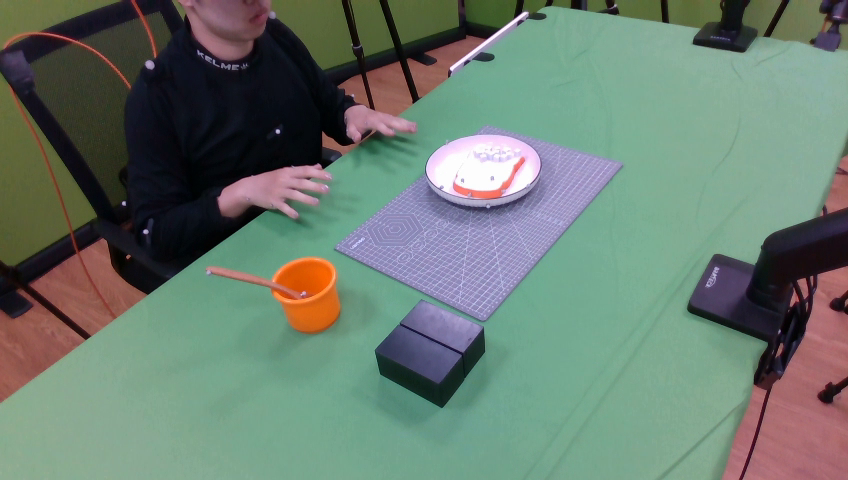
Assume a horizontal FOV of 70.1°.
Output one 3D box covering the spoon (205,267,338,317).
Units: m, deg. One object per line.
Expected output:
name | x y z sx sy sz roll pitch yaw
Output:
spoon | -0.202 0.067 0.822 0.021 0.195 0.041 -45 38 24

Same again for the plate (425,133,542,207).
plate | 0.106 -0.121 1.079 0.209 0.038 0.208 -4 41 4

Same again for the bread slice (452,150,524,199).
bread slice | 0.112 -0.119 1.079 0.104 0.019 0.131 12 43 21
